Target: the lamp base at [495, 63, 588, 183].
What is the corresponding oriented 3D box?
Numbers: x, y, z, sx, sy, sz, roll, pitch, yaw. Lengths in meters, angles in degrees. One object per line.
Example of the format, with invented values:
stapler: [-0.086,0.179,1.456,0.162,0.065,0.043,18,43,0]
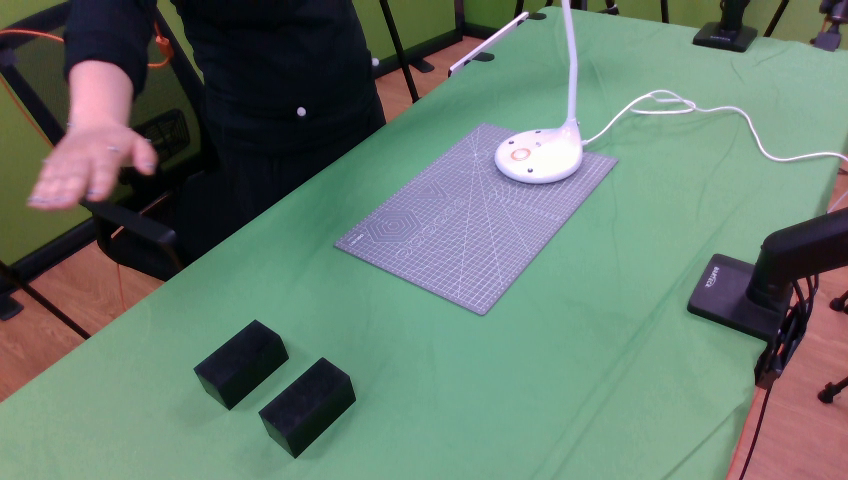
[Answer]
lamp base: [0.214,-0.217,1.067,0.180,0.181,0.159,-20,42,-18]
